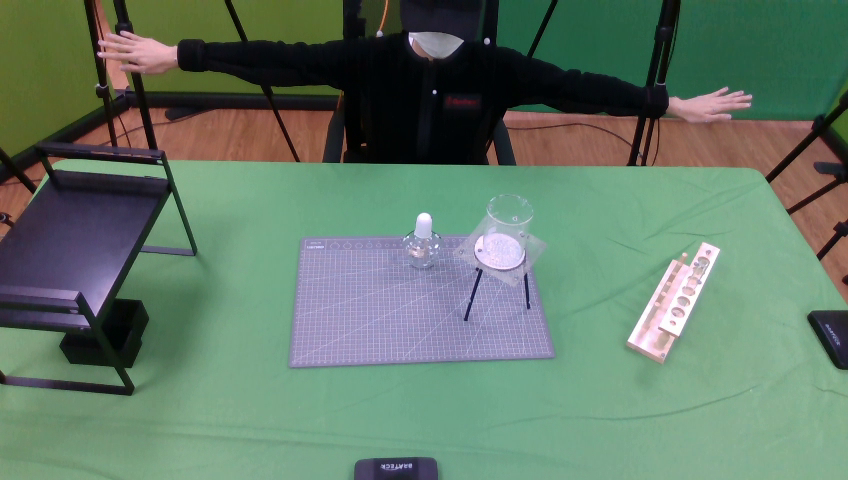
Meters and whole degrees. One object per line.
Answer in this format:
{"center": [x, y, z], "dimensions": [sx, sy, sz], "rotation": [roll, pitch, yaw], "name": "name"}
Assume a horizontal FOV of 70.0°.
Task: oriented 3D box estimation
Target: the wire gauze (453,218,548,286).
{"center": [0.129, 0.014, 1.018], "dimensions": [0.124, 0.011, 0.121], "rotation": [26, 47, 25], "name": "wire gauze"}

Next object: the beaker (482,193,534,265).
{"center": [0.135, -0.016, 0.979], "dimensions": [0.073, 0.101, 0.084], "rotation": [35, 52, 28], "name": "beaker"}

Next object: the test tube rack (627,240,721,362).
{"center": [0.452, 0.098, 1.087], "dimensions": [0.066, 0.085, 0.242], "rotation": [28, 51, 22], "name": "test tube rack"}

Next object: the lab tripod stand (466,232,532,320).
{"center": [0.125, 0.059, 1.065], "dimensions": [0.148, 0.132, 0.147], "rotation": [1, 45, 0], "name": "lab tripod stand"}

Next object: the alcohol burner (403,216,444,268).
{"center": [-0.001, -0.004, 1.132], "dimensions": [0.078, 0.120, 0.077], "rotation": [1, 46, 0], "name": "alcohol burner"}

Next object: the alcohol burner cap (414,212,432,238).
{"center": [0.000, -0.030, 1.107], "dimensions": [0.034, 0.048, 0.033], "rotation": [4, 41, -3], "name": "alcohol burner cap"}

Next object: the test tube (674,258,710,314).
{"center": [0.455, 0.082, 1.034], "dimensions": [0.017, 0.151, 0.017], "rotation": [-1, 50, 1], "name": "test tube"}
